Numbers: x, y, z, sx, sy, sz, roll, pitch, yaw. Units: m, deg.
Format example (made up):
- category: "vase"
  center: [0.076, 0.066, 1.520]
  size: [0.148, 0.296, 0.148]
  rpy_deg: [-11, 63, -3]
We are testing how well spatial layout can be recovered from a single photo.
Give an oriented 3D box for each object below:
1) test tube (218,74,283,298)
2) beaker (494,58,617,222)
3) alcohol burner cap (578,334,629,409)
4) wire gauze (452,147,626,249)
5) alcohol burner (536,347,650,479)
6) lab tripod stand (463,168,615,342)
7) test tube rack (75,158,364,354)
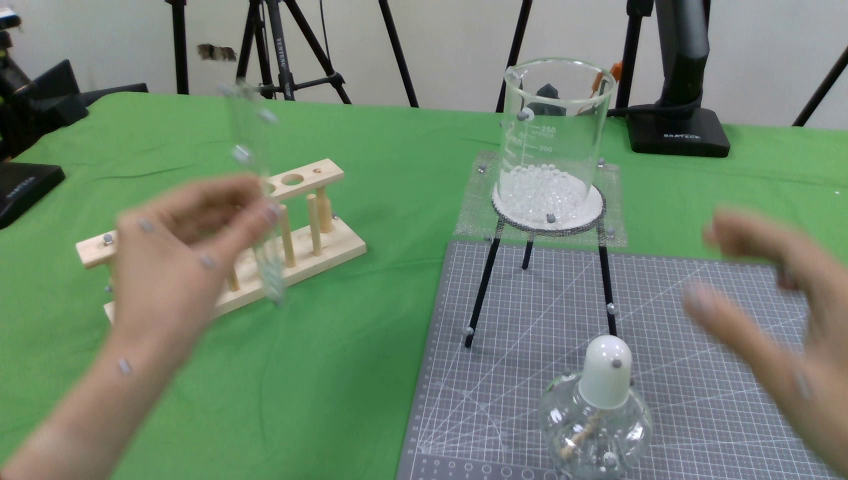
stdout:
- category: "test tube"
  center: [-0.103, -0.025, 0.368]
  size: [0.017, 0.151, 0.017]
  rpy_deg: [0, 34, 0]
- category: "beaker"
  center: [0.087, -0.071, 0.439]
  size: [0.074, 0.101, 0.083]
  rpy_deg: [-27, 46, -31]
- category: "alcohol burner cap"
  center: [0.116, 0.081, 0.387]
  size: [0.034, 0.048, 0.033]
  rpy_deg: [-4, 37, 3]
- category: "wire gauze"
  center: [0.091, -0.034, 0.471]
  size: [0.121, 0.011, 0.124]
  rpy_deg: [6, 41, 9]
- category: "alcohol burner"
  center: [0.116, 0.109, 0.409]
  size: [0.078, 0.120, 0.077]
  rpy_deg: [0, 40, 1]
- category: "lab tripod stand"
  center: [0.101, 0.017, 0.512]
  size: [0.148, 0.132, 0.147]
  rpy_deg: [1, 37, 0]
- category: "test tube rack"
  center: [-0.181, 0.008, 0.577]
  size: [0.243, 0.086, 0.066]
  rpy_deg: [-24, 43, -27]
